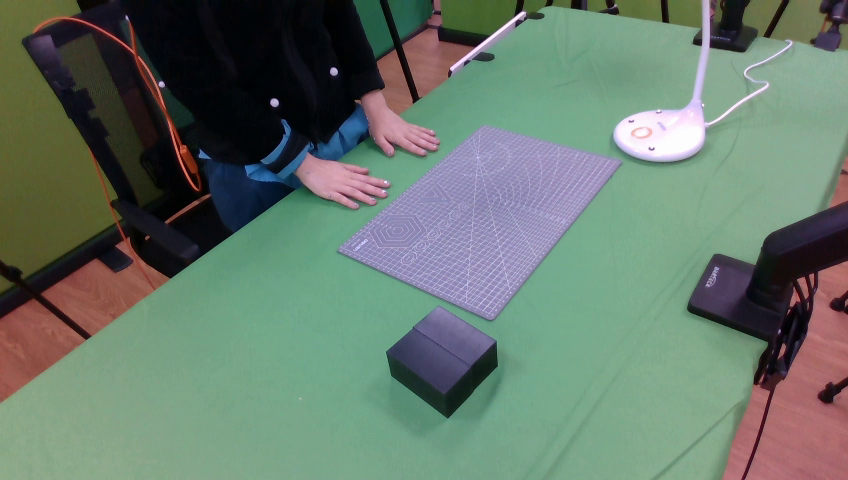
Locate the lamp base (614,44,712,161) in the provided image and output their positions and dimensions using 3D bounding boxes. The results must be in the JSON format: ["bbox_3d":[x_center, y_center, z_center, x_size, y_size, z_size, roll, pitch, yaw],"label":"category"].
[{"bbox_3d":[0.441,-0.257,1.081,0.180,0.181,0.159,-15,41,-12],"label":"lamp base"}]
